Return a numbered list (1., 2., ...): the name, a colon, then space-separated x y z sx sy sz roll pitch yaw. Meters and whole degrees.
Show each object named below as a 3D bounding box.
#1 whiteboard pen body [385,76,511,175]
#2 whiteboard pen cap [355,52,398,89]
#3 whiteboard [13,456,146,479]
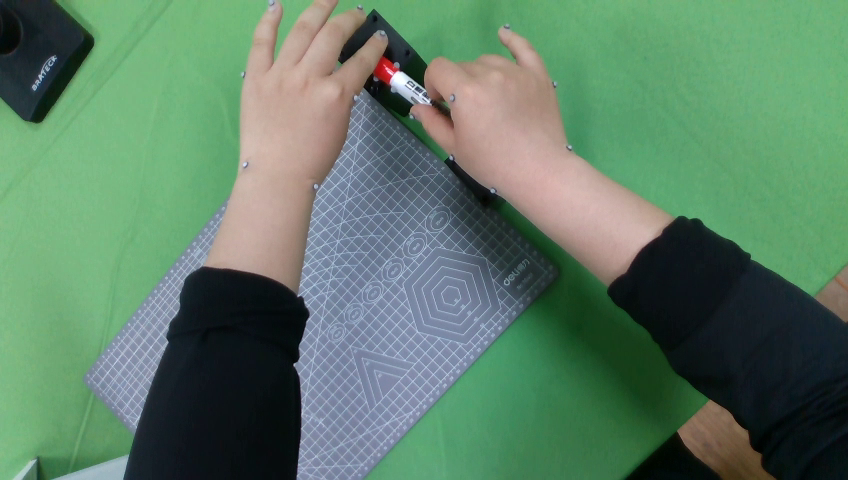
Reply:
1. whiteboard pen body: 0.010 -0.097 0.478 0.140 0.017 0.017 38 99 7
2. whiteboard pen cap: -0.038 -0.135 0.484 0.032 0.017 0.017 36 99 7
3. whiteboard: -0.451 0.340 0.579 0.143 0.307 0.217 5 94 31
